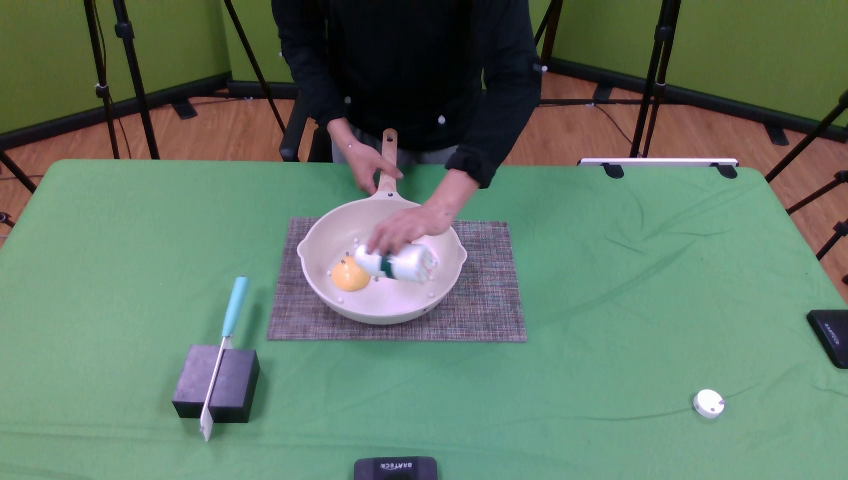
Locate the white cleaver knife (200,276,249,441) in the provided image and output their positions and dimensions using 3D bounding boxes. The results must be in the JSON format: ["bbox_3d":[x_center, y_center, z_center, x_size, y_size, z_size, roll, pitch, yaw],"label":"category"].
[{"bbox_3d":[-0.321,0.177,0.972,0.021,0.066,0.284,7,48,-5],"label":"white cleaver knife"}]

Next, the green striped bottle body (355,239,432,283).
[{"bbox_3d":[-0.052,0.032,0.983,0.119,0.063,0.063,7,44,24],"label":"green striped bottle body"}]

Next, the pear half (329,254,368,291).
[{"bbox_3d":[-0.140,0.052,1.121,0.070,0.031,0.087,-7,51,-17],"label":"pear half"}]

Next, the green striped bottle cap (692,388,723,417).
[{"bbox_3d":[0.460,0.263,0.984,0.044,0.020,0.044,3,47,-3],"label":"green striped bottle cap"}]

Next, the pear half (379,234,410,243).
[{"bbox_3d":[-0.074,0.017,1.146,0.110,0.056,0.076,9,41,7],"label":"pear half"}]

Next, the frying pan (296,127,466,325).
[{"bbox_3d":[-0.076,-0.045,1.172,0.307,0.103,0.485,3,55,-2],"label":"frying pan"}]
